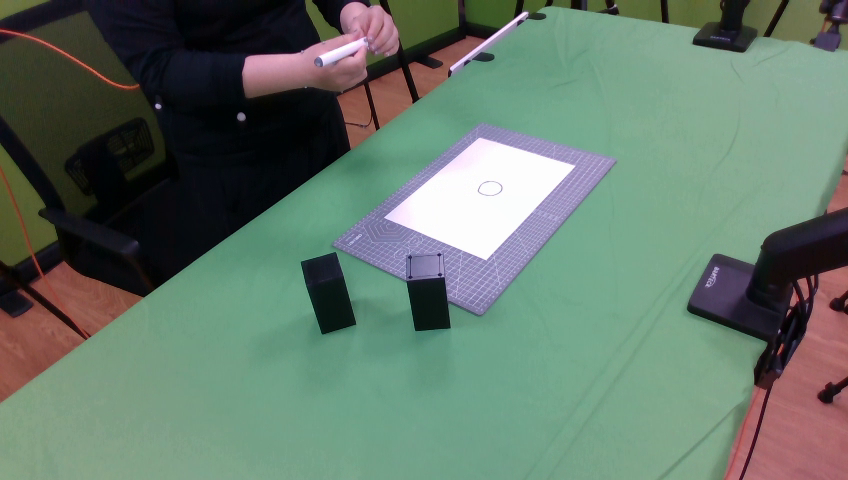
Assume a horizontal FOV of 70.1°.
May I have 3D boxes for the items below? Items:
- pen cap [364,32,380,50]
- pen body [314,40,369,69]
[{"bbox_3d":[-0.088,-0.328,0.994,0.017,0.017,0.038,18,50,27],"label":"pen cap"},{"bbox_3d":[-0.122,-0.297,0.954,0.017,0.017,0.144,18,38,28],"label":"pen body"}]
